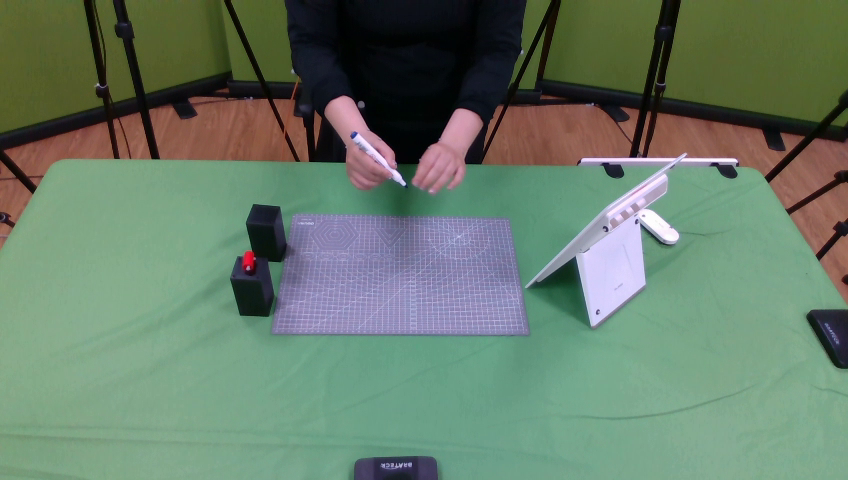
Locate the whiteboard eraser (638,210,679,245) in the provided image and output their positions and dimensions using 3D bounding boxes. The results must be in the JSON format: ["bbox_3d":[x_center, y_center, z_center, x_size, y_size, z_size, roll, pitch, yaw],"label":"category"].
[{"bbox_3d":[0.485,-0.027,1.260,0.041,0.019,0.100,-21,50,-21],"label":"whiteboard eraser"}]

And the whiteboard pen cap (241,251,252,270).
[{"bbox_3d":[-0.294,0.033,1.005,0.017,0.017,0.032,-3,44,-7],"label":"whiteboard pen cap"}]

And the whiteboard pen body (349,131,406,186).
[{"bbox_3d":[-0.078,-0.139,1.057,0.017,0.141,0.016,-32,33,24],"label":"whiteboard pen body"}]

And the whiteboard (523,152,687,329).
[{"bbox_3d":[0.346,0.024,1.047,0.217,0.306,0.143,-30,74,-29],"label":"whiteboard"}]
